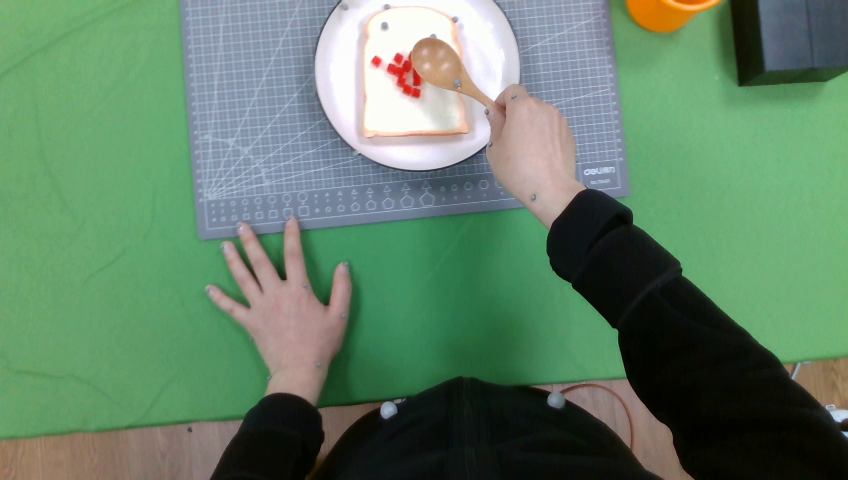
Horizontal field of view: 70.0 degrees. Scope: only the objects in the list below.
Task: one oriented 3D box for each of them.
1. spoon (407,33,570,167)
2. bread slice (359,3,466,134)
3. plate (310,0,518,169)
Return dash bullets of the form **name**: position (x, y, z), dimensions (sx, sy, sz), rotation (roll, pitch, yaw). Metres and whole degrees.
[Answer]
- **spoon**: position (0.060, -0.130, 0.568), dimensions (0.192, 0.022, 0.041), rotation (43, 94, 15)
- **bread slice**: position (-0.017, -0.174, 0.620), dimensions (0.107, 0.018, 0.134), rotation (-6, 87, -4)
- **plate**: position (-0.009, -0.173, 0.619), dimensions (0.209, 0.038, 0.208), rotation (0, 87, -2)
